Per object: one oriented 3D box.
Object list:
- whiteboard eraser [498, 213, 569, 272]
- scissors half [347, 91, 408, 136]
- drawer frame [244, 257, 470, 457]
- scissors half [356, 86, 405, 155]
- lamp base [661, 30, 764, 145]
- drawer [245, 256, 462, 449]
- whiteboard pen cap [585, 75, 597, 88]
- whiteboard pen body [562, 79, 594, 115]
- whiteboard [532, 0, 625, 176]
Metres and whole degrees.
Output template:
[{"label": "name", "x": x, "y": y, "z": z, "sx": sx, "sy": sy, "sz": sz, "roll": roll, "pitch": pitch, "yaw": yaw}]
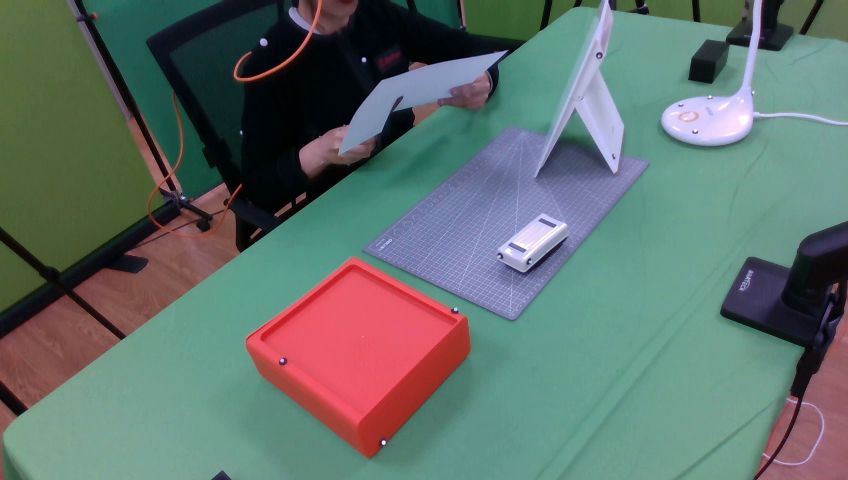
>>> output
[{"label": "whiteboard eraser", "x": 0.168, "y": 0.006, "z": 0.923, "sx": 0.113, "sy": 0.042, "sz": 0.055, "roll": -36, "pitch": 48, "yaw": -28}, {"label": "scissors half", "x": -0.088, "y": -0.239, "z": 1.125, "sx": 0.174, "sy": 0.040, "sz": 0.013, "roll": -17, "pitch": 0, "yaw": 43}, {"label": "drawer frame", "x": -0.084, "y": 0.138, "z": 0.788, "sx": 0.212, "sy": 0.083, "sz": 0.202, "roll": 25, "pitch": 50, "yaw": 33}, {"label": "scissors half", "x": -0.078, "y": -0.219, "z": 1.122, "sx": 0.040, "sy": 0.175, "sz": 0.013, "roll": 50, "pitch": 40, "yaw": 14}, {"label": "lamp base", "x": 0.535, "y": -0.287, "z": 1.096, "sx": 0.179, "sy": 0.181, "sz": 0.159, "roll": -10, "pitch": 40, "yaw": -4}, {"label": "drawer", "x": -0.089, "y": 0.136, "z": 0.792, "sx": 0.210, "sy": 0.073, "sz": 0.195, "roll": 26, "pitch": 51, "yaw": 34}, {"label": "whiteboard pen cap", "x": 0.362, "y": -0.343, "z": 1.310, "sx": 0.018, "sy": 0.018, "sz": 0.033, "roll": 20, "pitch": 54, "yaw": 29}, {"label": "whiteboard pen body", "x": 0.328, "y": -0.306, "z": 1.278, "sx": 0.017, "sy": 0.017, "sz": 0.141, "roll": 20, "pitch": 52, "yaw": 30}, {"label": "whiteboard", "x": 0.320, "y": -0.259, "z": 1.050, "sx": 0.144, "sy": 0.306, "sz": 0.217, "roll": 21, "pitch": 45, "yaw": 5}]
